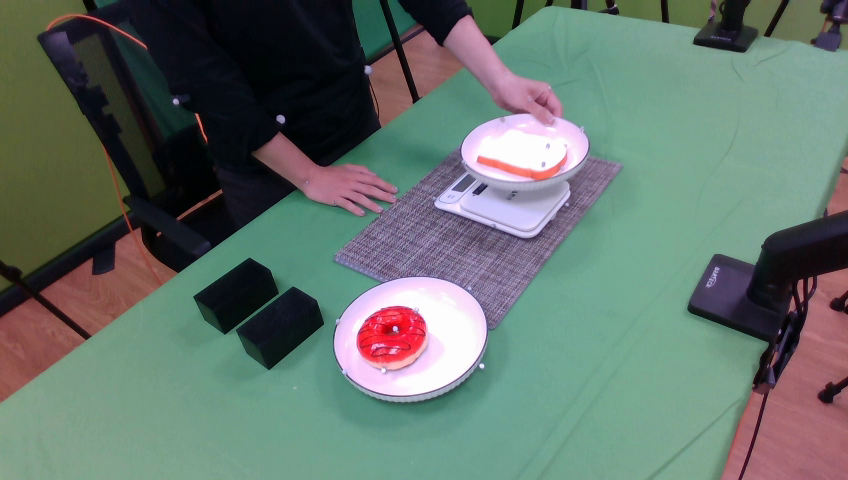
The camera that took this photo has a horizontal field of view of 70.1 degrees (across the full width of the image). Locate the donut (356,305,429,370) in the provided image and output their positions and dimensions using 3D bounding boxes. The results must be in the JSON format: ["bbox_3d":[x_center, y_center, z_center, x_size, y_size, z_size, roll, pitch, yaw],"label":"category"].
[{"bbox_3d":[-0.041,0.127,0.798,0.099,0.048,0.098,-7,40,7],"label":"donut"}]

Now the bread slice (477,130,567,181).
[{"bbox_3d":[0.169,-0.140,0.994,0.130,0.019,0.105,23,50,32],"label":"bread slice"}]

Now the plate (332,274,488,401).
[{"bbox_3d":[-0.017,0.130,0.808,0.207,0.039,0.206,-4,41,4],"label":"plate"}]

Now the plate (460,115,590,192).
[{"bbox_3d":[0.164,-0.139,0.990,0.209,0.038,0.208,-4,40,4],"label":"plate"}]

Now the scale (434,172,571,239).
[{"bbox_3d":[0.132,-0.075,1.024,0.199,0.032,0.149,22,48,30],"label":"scale"}]
